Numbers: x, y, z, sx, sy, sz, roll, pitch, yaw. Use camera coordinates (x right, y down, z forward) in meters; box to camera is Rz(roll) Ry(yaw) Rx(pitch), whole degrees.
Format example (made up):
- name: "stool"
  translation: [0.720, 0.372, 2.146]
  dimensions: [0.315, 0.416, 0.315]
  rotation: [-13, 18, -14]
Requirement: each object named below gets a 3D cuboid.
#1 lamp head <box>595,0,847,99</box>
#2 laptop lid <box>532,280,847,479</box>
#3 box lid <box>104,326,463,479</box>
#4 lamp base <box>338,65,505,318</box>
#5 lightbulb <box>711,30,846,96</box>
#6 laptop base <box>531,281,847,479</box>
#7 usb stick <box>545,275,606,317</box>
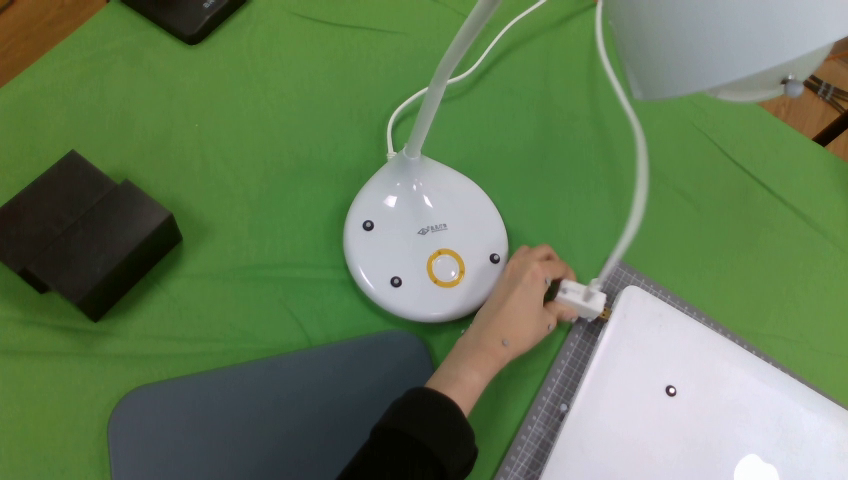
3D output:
- name: "lamp head"
  translation: [0.106, -0.130, 0.231]
  dimensions: [0.112, 0.112, 0.123]
  rotation: [-35, 102, -23]
- name: "laptop lid"
  translation: [0.287, 0.215, 0.537]
  dimensions: [0.356, 0.013, 0.241]
  rotation: [32, 67, 2]
- name: "box lid"
  translation: [-0.082, 0.259, 0.456]
  dimensions: [0.264, 0.015, 0.369]
  rotation: [-11, 71, -16]
- name: "lamp base"
  translation: [0.007, -0.043, 0.507]
  dimensions: [0.161, 0.181, 0.178]
  rotation: [-25, 72, -21]
- name: "lightbulb"
  translation: [0.131, -0.110, 0.229]
  dimensions: [0.060, 0.059, 0.108]
  rotation: [-7, 108, -15]
- name: "laptop base"
  translation: [0.286, 0.217, 0.549]
  dimensions: [0.354, 0.023, 0.234]
  rotation: [31, 69, 1]
- name: "usb stick"
  translation: [0.147, 0.056, 0.575]
  dimensions: [0.059, 0.027, 0.021]
  rotation: [20, 58, -1]
